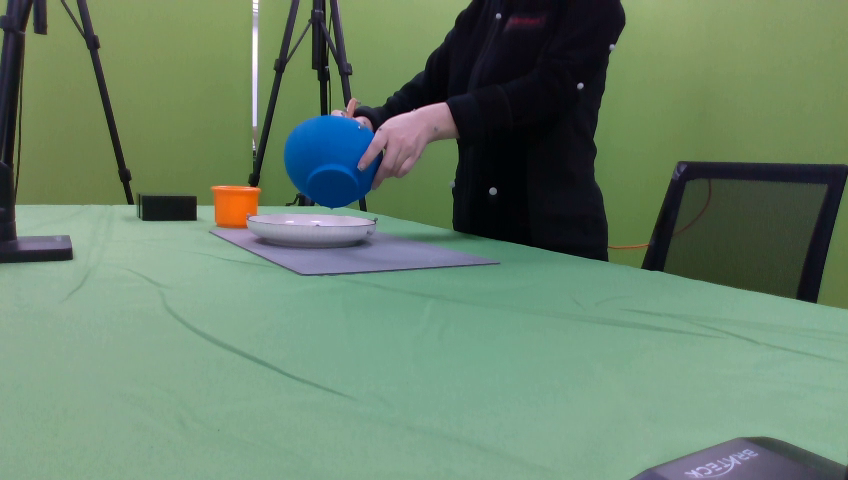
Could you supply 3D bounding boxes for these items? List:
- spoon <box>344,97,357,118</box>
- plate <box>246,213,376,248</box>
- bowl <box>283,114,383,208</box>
[{"bbox_3d":[-0.139,-0.157,0.985,0.041,0.193,0.021,11,-30,0],"label":"spoon"},{"bbox_3d":[-0.185,-0.017,0.994,0.209,0.038,0.209,3,8,0],"label":"plate"},{"bbox_3d":[-0.134,-0.100,0.888,0.152,0.151,0.076,1,45,-7],"label":"bowl"}]
